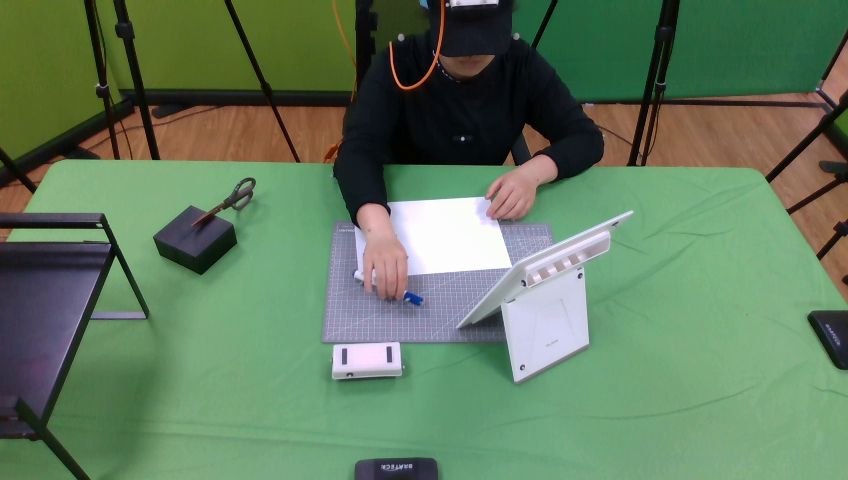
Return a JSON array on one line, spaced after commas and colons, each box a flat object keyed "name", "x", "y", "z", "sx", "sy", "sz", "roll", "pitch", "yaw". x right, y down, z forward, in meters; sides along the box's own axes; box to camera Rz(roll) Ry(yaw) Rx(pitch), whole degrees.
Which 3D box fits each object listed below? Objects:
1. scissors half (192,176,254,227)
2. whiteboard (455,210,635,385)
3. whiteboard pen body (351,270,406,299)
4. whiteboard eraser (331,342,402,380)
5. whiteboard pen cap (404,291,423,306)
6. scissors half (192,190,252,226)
[{"name": "scissors half", "x": -0.388, "y": -0.075, "z": 1.174, "sx": 0.013, "sy": 0.040, "sz": 0.174, "roll": 30, "pitch": 48, "yaw": 7}, {"name": "whiteboard", "x": 0.211, "y": 0.111, "z": 0.955, "sx": 0.217, "sy": 0.306, "sz": 0.143, "roll": -21, "pitch": 71, "yaw": -23}, {"name": "whiteboard pen body", "x": -0.071, "y": 0.084, "z": 1.100, "sx": 0.140, "sy": 0.017, "sz": 0.017, "roll": 21, "pitch": 48, "yaw": 19}, {"name": "whiteboard eraser", "x": -0.094, "y": 0.198, "z": 0.986, "sx": 0.113, "sy": 0.042, "sz": 0.055, "roll": -2, "pitch": 44, "yaw": -6}, {"name": "whiteboard pen cap", "x": -0.020, "y": 0.103, "z": 1.079, "sx": 0.033, "sy": 0.018, "sz": 0.018, "roll": 22, "pitch": 48, "yaw": 24}, {"name": "scissors half", "x": -0.393, "y": -0.060, "z": 1.187, "sx": 0.013, "sy": 0.040, "sz": 0.175, "roll": 26, "pitch": 29, "yaw": 11}]
